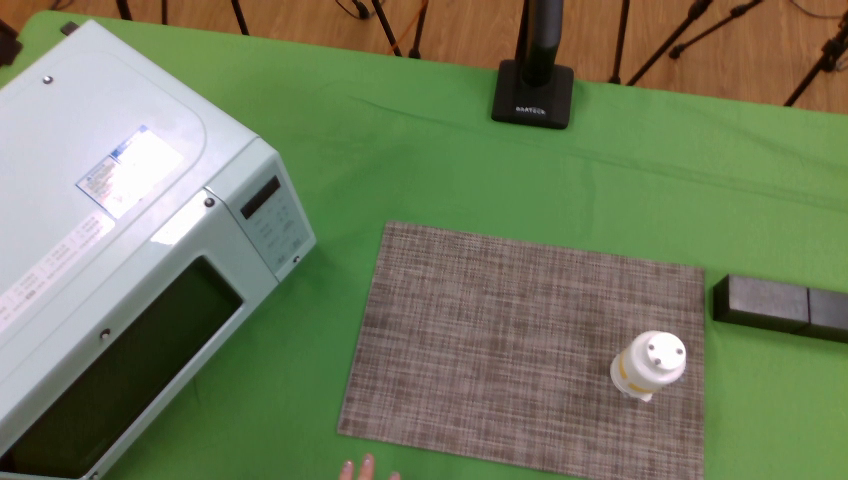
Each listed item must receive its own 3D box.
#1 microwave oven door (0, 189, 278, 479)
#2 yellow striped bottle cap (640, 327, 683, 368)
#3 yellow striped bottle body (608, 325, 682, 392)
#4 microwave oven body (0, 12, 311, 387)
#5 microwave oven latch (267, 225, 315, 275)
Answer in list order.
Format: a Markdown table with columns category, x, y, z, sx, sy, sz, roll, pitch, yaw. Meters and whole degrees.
| category | x | y | z | sx | sy | sz | roll | pitch | yaw |
| --- | --- | --- | --- | --- | --- | --- | --- | --- | --- |
| microwave oven door | -0.319 | 0.127 | 0.661 | 0.039 | 0.245 | 0.355 | 34 | 71 | 15 |
| yellow striped bottle cap | 0.267 | 0.120 | 0.682 | 0.044 | 0.019 | 0.044 | -1 | 69 | 2 |
| yellow striped bottle body | 0.268 | 0.141 | 0.730 | 0.063 | 0.121 | 0.062 | 0 | 66 | 1 |
| microwave oven body | -0.410 | 0.018 | 0.714 | 0.324 | 0.262 | 0.440 | 35 | 72 | 14 |
| microwave oven latch | -0.183 | 0.008 | 0.821 | 0.030 | 0.030 | 0.079 | 36 | 73 | 14 |
